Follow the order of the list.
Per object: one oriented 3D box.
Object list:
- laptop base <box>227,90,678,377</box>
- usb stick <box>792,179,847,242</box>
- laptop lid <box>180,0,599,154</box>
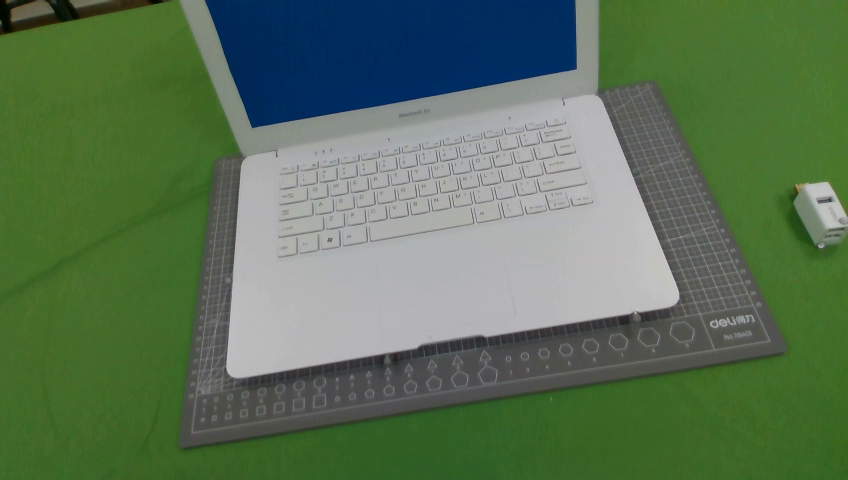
[{"bbox_3d":[0.008,-0.015,0.529,0.354,0.023,0.233,-10,58,2],"label":"laptop base"},{"bbox_3d":[0.314,-0.029,0.484,0.021,0.027,0.058,-8,52,5],"label":"usb stick"},{"bbox_3d":[-0.025,-0.203,0.523,0.357,0.244,0.013,-11,37,3],"label":"laptop lid"}]
